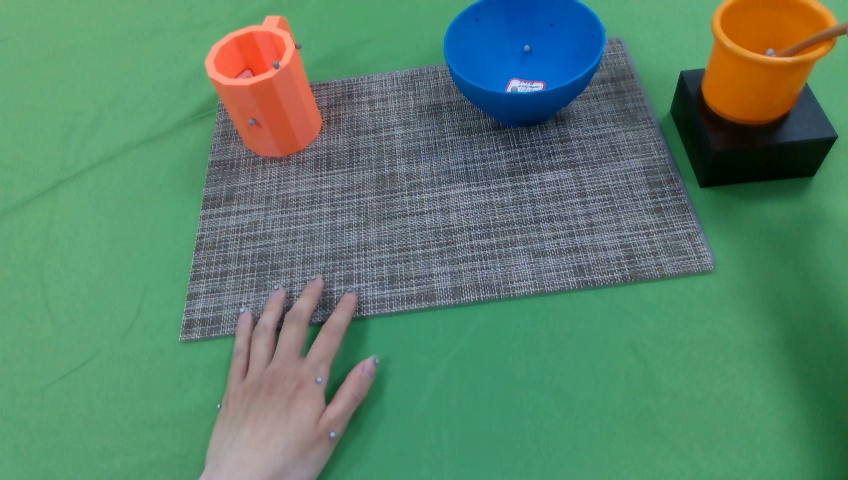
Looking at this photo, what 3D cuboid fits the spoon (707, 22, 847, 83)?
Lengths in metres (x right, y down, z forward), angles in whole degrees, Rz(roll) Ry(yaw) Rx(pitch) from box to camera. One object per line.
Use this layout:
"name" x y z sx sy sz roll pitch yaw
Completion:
"spoon" 0.302 -0.150 0.458 0.041 0.193 0.022 -36 101 -21

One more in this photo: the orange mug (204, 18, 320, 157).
"orange mug" -0.157 -0.162 0.615 0.083 0.102 0.125 3 61 10

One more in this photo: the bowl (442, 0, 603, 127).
"bowl" 0.095 -0.165 0.596 0.151 0.077 0.150 -3 56 5
